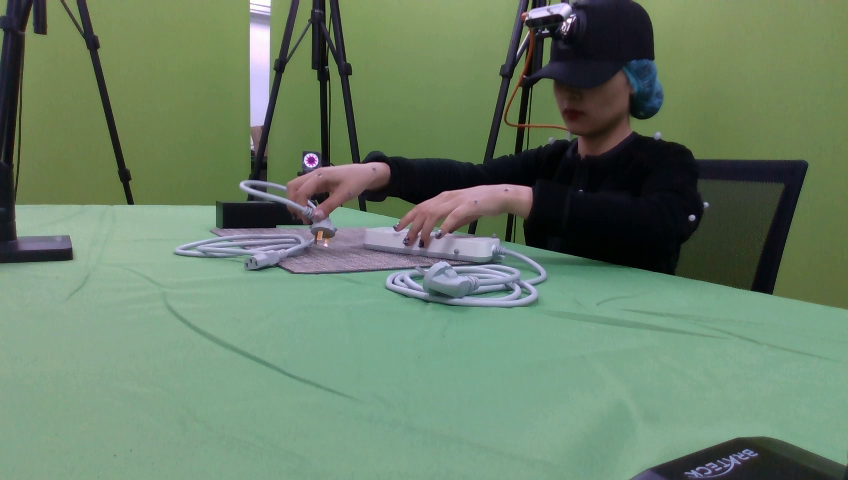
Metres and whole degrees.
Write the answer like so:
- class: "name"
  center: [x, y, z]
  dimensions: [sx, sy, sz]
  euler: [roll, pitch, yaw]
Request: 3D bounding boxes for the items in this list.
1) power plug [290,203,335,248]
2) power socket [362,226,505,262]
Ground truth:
- class: "power plug"
  center: [-0.166, -0.018, 0.885]
  dimensions: [0.073, 0.052, 0.035]
  euler: [12, -29, -17]
- class: "power socket"
  center: [0.008, 0.004, 0.910]
  dimensions: [0.226, 0.032, 0.072]
  euler: [7, 9, 28]
